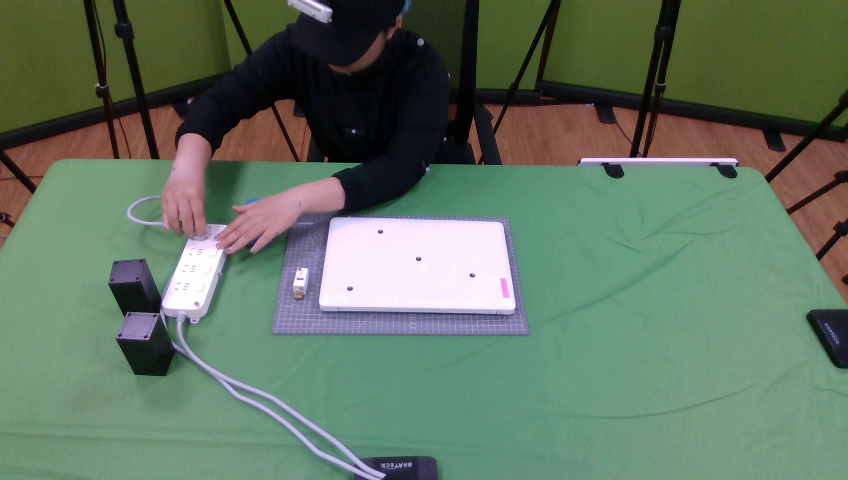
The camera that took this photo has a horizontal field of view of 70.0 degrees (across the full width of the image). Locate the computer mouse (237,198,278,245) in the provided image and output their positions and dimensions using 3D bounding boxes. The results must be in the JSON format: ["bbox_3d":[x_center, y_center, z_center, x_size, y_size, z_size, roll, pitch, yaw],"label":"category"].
[{"bbox_3d":[-0.328,-0.041,1.201,0.063,0.041,0.116,5,50,-4],"label":"computer mouse"}]

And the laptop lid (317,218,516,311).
[{"bbox_3d":[-0.013,0.040,1.144,0.357,0.013,0.240,3,43,-2],"label":"laptop lid"}]

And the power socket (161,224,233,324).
[{"bbox_3d":[-0.411,0.052,1.107,0.072,0.033,0.225,5,45,-1],"label":"power socket"}]

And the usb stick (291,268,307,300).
[{"bbox_3d":[-0.226,0.081,1.094,0.021,0.027,0.059,4,48,-2],"label":"usb stick"}]

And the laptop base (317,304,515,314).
[{"bbox_3d":[-0.014,0.049,1.150,0.354,0.023,0.234,1,42,-3],"label":"laptop base"}]

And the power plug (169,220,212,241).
[{"bbox_3d":[-0.436,-0.017,1.150,0.072,0.053,0.035,10,50,20],"label":"power plug"}]
